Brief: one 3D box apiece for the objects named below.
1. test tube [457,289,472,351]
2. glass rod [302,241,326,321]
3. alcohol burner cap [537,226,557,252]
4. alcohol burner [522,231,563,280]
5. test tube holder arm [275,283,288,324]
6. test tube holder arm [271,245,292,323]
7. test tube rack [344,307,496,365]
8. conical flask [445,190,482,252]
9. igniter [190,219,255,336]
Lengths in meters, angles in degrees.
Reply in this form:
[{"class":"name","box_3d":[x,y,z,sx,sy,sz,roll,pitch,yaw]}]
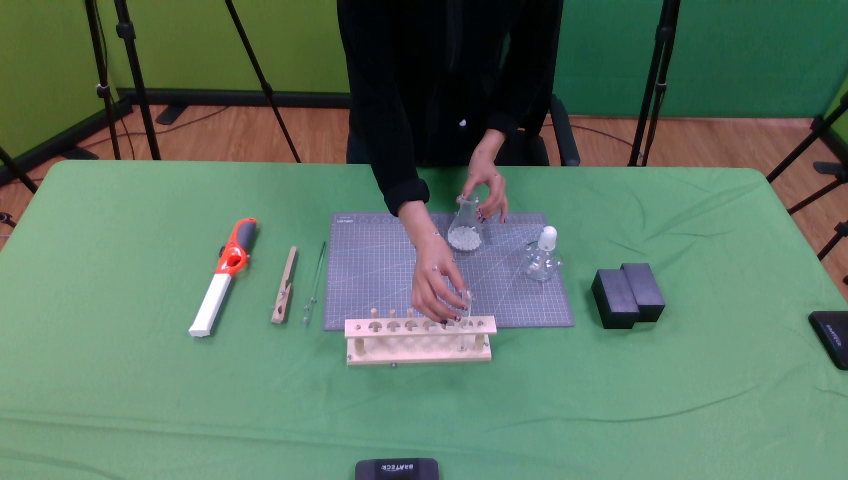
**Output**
[{"class":"test tube","box_3d":[0.064,0.130,0.963,0.017,0.151,0.017,1,46,-1]},{"class":"glass rod","box_3d":[-0.203,0.071,1.124,0.008,0.008,0.198,4,44,1]},{"class":"alcohol burner cap","box_3d":[0.226,-0.004,1.104,0.034,0.048,0.033,0,50,1]},{"class":"alcohol burner","box_3d":[0.224,0.020,1.131,0.078,0.119,0.077,4,46,-4]},{"class":"test tube holder arm","box_3d":[-0.254,0.110,1.077,0.010,0.015,0.087,30,38,-28]},{"class":"test tube holder arm","box_3d":[-0.260,0.076,1.105,0.013,0.015,0.177,29,38,-29]},{"class":"test tube rack","box_3d":[-0.009,0.154,1.007,0.242,0.085,0.066,-1,46,-5]},{"class":"conical flask","box_3d":[0.082,-0.040,1.172,0.075,0.122,0.075,2,46,-2]},{"class":"igniter","box_3d":[-0.365,0.058,1.110,0.057,0.025,0.275,-1,45,8]}]
